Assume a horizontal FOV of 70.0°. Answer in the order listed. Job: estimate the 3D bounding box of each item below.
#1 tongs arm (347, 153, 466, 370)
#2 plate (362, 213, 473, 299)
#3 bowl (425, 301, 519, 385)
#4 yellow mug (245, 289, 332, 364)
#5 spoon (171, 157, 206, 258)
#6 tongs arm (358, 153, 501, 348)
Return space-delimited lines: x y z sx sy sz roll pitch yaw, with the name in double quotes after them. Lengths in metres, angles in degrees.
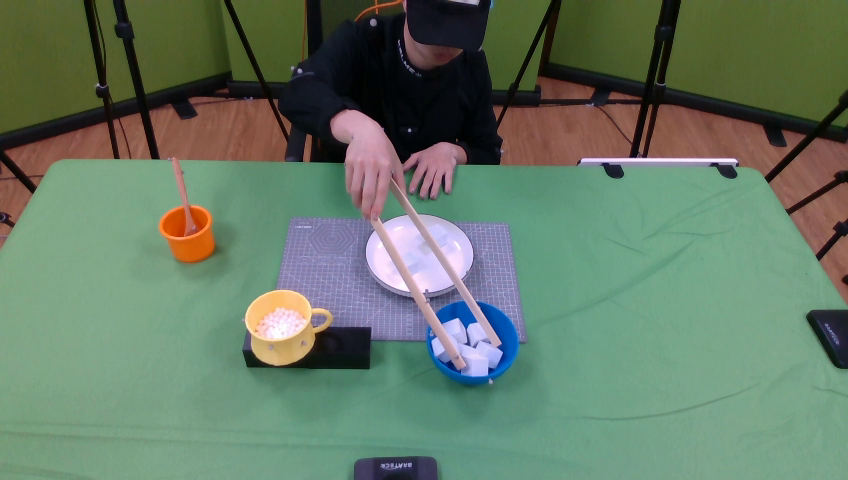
-0.027 0.029 0.970 0.051 0.026 0.383 -27 79 -31 "tongs arm"
-0.013 0.034 1.150 0.208 0.039 0.206 3 46 -2 "plate"
0.074 0.181 0.991 0.151 0.077 0.150 3 46 -3 "bowl"
-0.210 0.132 0.954 0.131 0.064 0.099 -9 48 -14 "yellow mug"
-0.444 -0.061 1.133 0.042 0.193 0.021 -12 4 -20 "spoon"
0.008 0.013 0.994 0.028 0.028 0.386 -30 80 -28 "tongs arm"
